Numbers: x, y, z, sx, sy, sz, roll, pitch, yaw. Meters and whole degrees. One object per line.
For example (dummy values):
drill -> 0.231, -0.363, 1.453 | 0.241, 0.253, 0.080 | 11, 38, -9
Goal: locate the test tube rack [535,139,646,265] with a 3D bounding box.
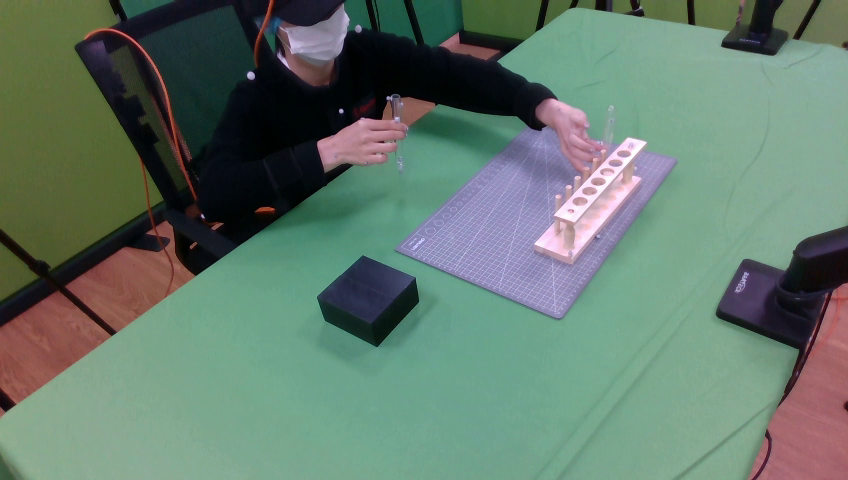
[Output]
test tube rack -> 0.269, -0.071, 0.964 | 0.066, 0.085, 0.243 | 23, 49, 32

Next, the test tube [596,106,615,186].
test tube -> 0.295, -0.149, 0.983 | 0.017, 0.151, 0.017 | -4, 41, 4

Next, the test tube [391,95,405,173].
test tube -> -0.044, -0.177, 1.030 | 0.017, 0.151, 0.017 | -1, 43, 2
